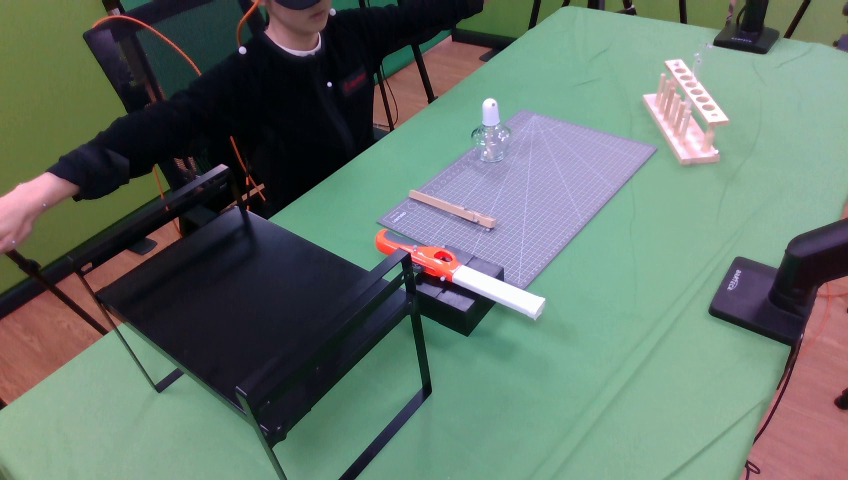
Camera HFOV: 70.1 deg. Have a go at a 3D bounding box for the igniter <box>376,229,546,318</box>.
[{"bbox_3d":[0.040,0.041,0.845,0.274,0.025,0.057,23,46,27],"label":"igniter"}]

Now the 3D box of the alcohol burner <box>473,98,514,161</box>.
[{"bbox_3d":[0.127,-0.208,1.123,0.078,0.119,0.077,-5,39,5],"label":"alcohol burner"}]

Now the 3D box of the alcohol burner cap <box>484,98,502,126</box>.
[{"bbox_3d":[0.124,-0.236,1.101,0.034,0.048,0.033,-6,39,5],"label":"alcohol burner cap"}]

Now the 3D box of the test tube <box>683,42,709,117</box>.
[{"bbox_3d":[0.499,-0.292,1.115,0.017,0.151,0.017,-3,44,3],"label":"test tube"}]

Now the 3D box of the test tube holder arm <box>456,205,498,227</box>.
[{"bbox_3d":[0.083,-0.041,1.011,0.087,0.015,0.010,22,12,31],"label":"test tube holder arm"}]

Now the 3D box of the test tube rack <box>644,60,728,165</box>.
[{"bbox_3d":[0.486,-0.247,1.139,0.067,0.085,0.241,-5,41,4],"label":"test tube rack"}]

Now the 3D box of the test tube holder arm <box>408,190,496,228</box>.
[{"bbox_3d":[0.044,-0.055,1.029,0.177,0.015,0.013,22,12,30],"label":"test tube holder arm"}]
